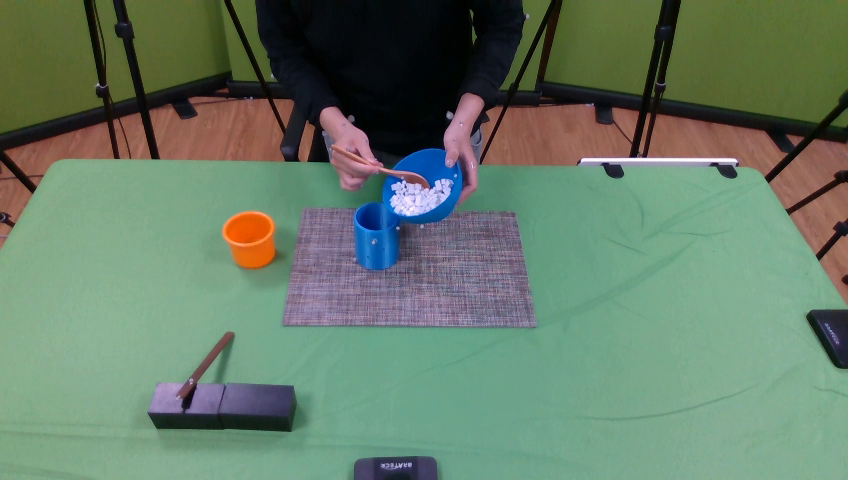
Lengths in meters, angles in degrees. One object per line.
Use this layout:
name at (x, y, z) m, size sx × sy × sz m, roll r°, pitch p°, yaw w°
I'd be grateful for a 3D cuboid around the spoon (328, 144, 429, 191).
spoon at (-0.079, -0.130, 1.078) m, size 0.194 × 0.041 × 0.021 m, roll 19°, pitch 69°, yaw -17°

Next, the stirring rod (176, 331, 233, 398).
stirring rod at (-0.342, 0.192, 0.955) m, size 0.014 × 0.006 × 0.175 m, roll 3°, pitch 24°, yaw 7°

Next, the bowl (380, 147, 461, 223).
bowl at (0.006, -0.084, 1.086) m, size 0.151 × 0.077 × 0.150 m, roll -13°, pitch 53°, yaw 19°

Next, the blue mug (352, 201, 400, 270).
blue mug at (-0.082, -0.017, 1.144) m, size 0.082 × 0.106 × 0.116 m, roll 30°, pitch 51°, yaw 22°
